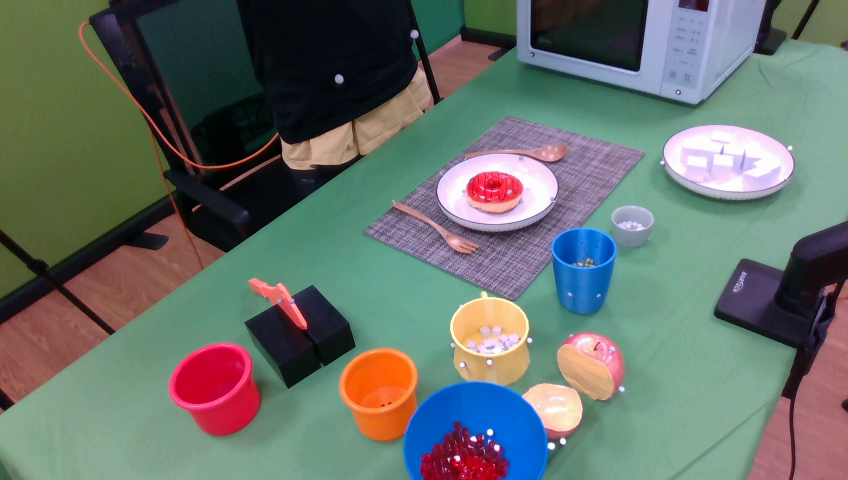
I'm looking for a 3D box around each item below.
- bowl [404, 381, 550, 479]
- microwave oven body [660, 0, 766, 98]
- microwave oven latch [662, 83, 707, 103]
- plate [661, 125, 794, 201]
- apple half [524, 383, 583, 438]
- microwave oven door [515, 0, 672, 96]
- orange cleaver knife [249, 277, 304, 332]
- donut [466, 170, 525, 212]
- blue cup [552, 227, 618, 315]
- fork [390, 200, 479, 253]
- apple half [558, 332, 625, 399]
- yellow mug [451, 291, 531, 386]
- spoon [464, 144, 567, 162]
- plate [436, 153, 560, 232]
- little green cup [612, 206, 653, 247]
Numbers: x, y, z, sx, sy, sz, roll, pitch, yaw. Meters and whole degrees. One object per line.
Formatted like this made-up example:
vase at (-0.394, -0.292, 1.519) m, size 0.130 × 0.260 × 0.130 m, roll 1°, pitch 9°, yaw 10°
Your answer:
bowl at (0.058, 0.235, 0.645) m, size 0.151 × 0.077 × 0.150 m, roll -4°, pitch 39°, yaw 4°
microwave oven body at (0.472, -0.513, 1.317) m, size 0.438 × 0.261 × 0.327 m, roll 26°, pitch 51°, yaw 34°
microwave oven latch at (0.517, -0.296, 1.204) m, size 0.078 × 0.029 × 0.030 m, roll 28°, pitch 52°, yaw 35°
plate at (0.513, -0.128, 1.035) m, size 0.207 × 0.039 × 0.206 m, roll -4°, pitch 40°, yaw 4°
apple half at (0.149, 0.204, 0.704) m, size 0.081 × 0.033 × 0.081 m, roll -10°, pitch 25°, yaw 5°
microwave oven door at (0.343, -0.454, 1.259) m, size 0.353 × 0.245 × 0.039 m, roll 26°, pitch 51°, yaw 33°
orange cleaver knife at (-0.210, 0.089, 0.855) m, size 0.012 × 0.077 × 0.210 m, roll -27°, pitch 14°, yaw -25°
donut at (0.121, -0.083, 1.019) m, size 0.099 × 0.048 × 0.098 m, roll -4°, pitch 38°, yaw 4°
blue cup at (0.218, 0.047, 0.825) m, size 0.092 × 0.101 × 0.092 m, roll -6°, pitch 39°, yaw 5°
fork at (0.011, -0.025, 0.998) m, size 0.028 × 0.019 × 0.205 m, roll -40°, pitch 51°, yaw -22°
apple half at (0.208, 0.147, 0.731) m, size 0.080 × 0.075 × 0.053 m, roll 25°, pitch 46°, yaw 38°
yellow mug at (0.086, 0.120, 0.786) m, size 0.100 × 0.064 × 0.130 m, roll -7°, pitch 39°, yaw 1°
spoon at (0.170, -0.163, 1.135) m, size 0.193 × 0.022 × 0.041 m, roll 1°, pitch 61°, yaw 10°
plate at (0.125, -0.078, 1.029) m, size 0.209 × 0.038 × 0.208 m, roll -4°, pitch 40°, yaw 4°
little green cup at (0.321, -0.019, 0.936) m, size 0.061 × 0.039 × 0.061 m, roll -4°, pitch 41°, yaw 4°
